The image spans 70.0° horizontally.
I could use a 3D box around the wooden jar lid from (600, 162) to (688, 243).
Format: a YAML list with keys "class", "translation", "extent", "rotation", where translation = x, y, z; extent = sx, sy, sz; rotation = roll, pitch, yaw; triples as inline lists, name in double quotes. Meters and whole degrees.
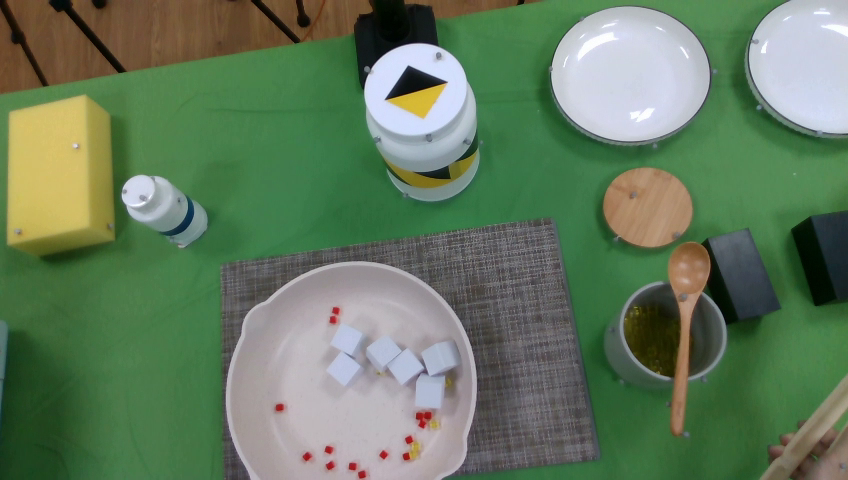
- class: "wooden jar lid"
  translation: [0.279, -0.047, 0.775]
  extent: [0.108, 0.021, 0.108]
  rotation: [-2, 76, 6]

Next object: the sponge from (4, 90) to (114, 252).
- class: "sponge"
  translation: [-0.516, -0.097, 0.856]
  extent: [0.118, 0.061, 0.205]
  rotation: [-13, 74, 2]

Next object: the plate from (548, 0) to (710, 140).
- class: "plate"
  translation: [0.272, -0.227, 0.818]
  extent: [0.207, 0.039, 0.206]
  rotation: [-2, 74, 6]

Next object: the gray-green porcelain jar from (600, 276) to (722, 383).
- class: "gray-green porcelain jar"
  translation: [0.257, 0.104, 0.678]
  extent: [0.106, 0.127, 0.105]
  rotation: [-2, 73, 6]

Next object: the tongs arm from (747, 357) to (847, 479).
- class: "tongs arm"
  translation: [0.380, 0.196, 0.603]
  extent: [0.028, 0.028, 0.388]
  rotation: [31, 99, -10]

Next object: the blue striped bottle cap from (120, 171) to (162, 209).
- class: "blue striped bottle cap"
  translation: [-0.347, -0.062, 0.742]
  extent: [0.044, 0.021, 0.044]
  rotation: [-1, 76, 6]

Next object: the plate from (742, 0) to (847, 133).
- class: "plate"
  translation: [0.521, -0.231, 0.791]
  extent: [0.209, 0.038, 0.208]
  rotation: [-2, 74, 6]

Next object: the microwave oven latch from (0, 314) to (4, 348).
- class: "microwave oven latch"
  translation: [-0.571, 0.133, 0.789]
  extent: [0.030, 0.030, 0.078]
  rotation: [-5, 74, 5]

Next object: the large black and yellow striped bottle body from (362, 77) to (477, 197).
- class: "large black and yellow striped bottle body"
  translation: [-0.002, -0.143, 0.749]
  extent: [0.130, 0.185, 0.130]
  rotation: [-2, 73, 6]

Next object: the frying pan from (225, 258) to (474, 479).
- class: "frying pan"
  translation: [-0.145, 0.248, 0.690]
  extent: [0.305, 0.103, 0.486]
  rotation: [32, 72, 15]

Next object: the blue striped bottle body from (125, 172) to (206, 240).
- class: "blue striped bottle body"
  translation: [-0.341, -0.046, 0.791]
  extent: [0.063, 0.121, 0.062]
  rotation: [-2, 73, 6]

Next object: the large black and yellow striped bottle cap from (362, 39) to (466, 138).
- class: "large black and yellow striped bottle cap"
  translation: [-0.011, -0.169, 0.669]
  extent: [0.115, 0.019, 0.114]
  rotation: [-2, 75, 6]

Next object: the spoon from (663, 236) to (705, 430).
- class: "spoon"
  translation: [0.255, 0.092, 0.609]
  extent: [0.041, 0.022, 0.193]
  rotation: [9, 79, 4]

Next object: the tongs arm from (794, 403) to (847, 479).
- class: "tongs arm"
  translation: [0.380, 0.199, 0.588]
  extent: [0.026, 0.050, 0.385]
  rotation: [32, 92, -6]
